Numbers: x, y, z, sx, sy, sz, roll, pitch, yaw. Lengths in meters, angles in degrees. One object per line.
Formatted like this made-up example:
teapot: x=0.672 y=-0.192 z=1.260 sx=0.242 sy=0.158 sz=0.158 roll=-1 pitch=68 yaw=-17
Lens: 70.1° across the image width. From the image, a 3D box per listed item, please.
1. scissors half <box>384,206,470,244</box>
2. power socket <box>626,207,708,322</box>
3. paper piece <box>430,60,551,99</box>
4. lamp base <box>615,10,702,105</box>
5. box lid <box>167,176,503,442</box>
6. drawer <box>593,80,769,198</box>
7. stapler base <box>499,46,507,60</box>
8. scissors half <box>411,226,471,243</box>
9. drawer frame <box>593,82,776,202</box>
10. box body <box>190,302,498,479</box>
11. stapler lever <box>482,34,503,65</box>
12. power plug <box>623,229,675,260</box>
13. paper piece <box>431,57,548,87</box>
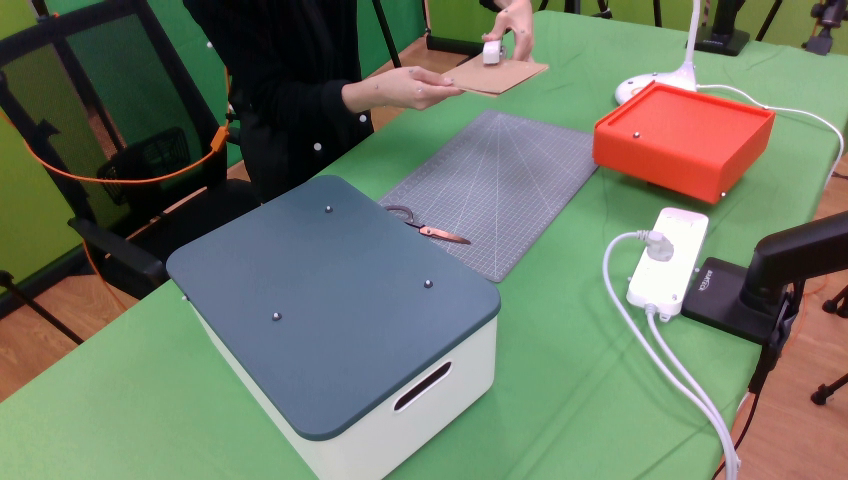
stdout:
scissors half: x=0.001 y=-0.024 z=1.005 sx=0.174 sy=0.013 sz=0.040 roll=22 pitch=56 yaw=25
power socket: x=0.360 y=0.026 z=0.886 sx=0.072 sy=0.033 sz=0.227 roll=16 pitch=46 yaw=26
paper piece: x=0.104 y=-0.257 z=0.948 sx=0.136 sy=0.004 sz=0.134 roll=-29 pitch=43 yaw=-33
lamp base: x=0.484 y=-0.364 z=1.211 sx=0.180 sy=0.181 sz=0.159 roll=-15 pitch=41 yaw=-14
box lid: x=-0.119 y=0.047 z=0.714 sx=0.264 sy=0.015 sz=0.368 roll=-32 pitch=47 yaw=-27
drawer: x=0.423 y=-0.175 z=1.007 sx=0.210 sy=0.073 sz=0.195 roll=30 pitch=52 yaw=35
stapler base: x=0.118 y=-0.313 z=1.029 sx=0.041 sy=0.024 sz=0.130 roll=4 pitch=33 yaw=10
scissors half: x=-0.007 y=-0.010 z=0.993 sx=0.174 sy=0.013 sz=0.040 roll=8 pitch=46 yaw=15
drawer frame: x=0.428 y=-0.171 z=1.006 sx=0.211 sy=0.083 sz=0.202 roll=29 pitch=51 yaw=36
box body: x=-0.110 y=0.103 z=0.761 sx=0.255 sy=0.161 sz=0.361 roll=-33 pitch=46 yaw=-27
stapler lever: x=0.116 y=-0.327 z=1.021 sx=0.027 sy=0.040 sz=0.117 roll=4 pitch=43 yaw=10
power plug: x=0.327 y=0.007 z=0.878 sx=0.072 sy=0.053 sz=0.035 roll=25 pitch=51 yaw=33
paper piece: x=0.104 y=-0.265 z=0.954 sx=0.137 sy=0.009 sz=0.136 roll=20 pitch=37 yaw=37
